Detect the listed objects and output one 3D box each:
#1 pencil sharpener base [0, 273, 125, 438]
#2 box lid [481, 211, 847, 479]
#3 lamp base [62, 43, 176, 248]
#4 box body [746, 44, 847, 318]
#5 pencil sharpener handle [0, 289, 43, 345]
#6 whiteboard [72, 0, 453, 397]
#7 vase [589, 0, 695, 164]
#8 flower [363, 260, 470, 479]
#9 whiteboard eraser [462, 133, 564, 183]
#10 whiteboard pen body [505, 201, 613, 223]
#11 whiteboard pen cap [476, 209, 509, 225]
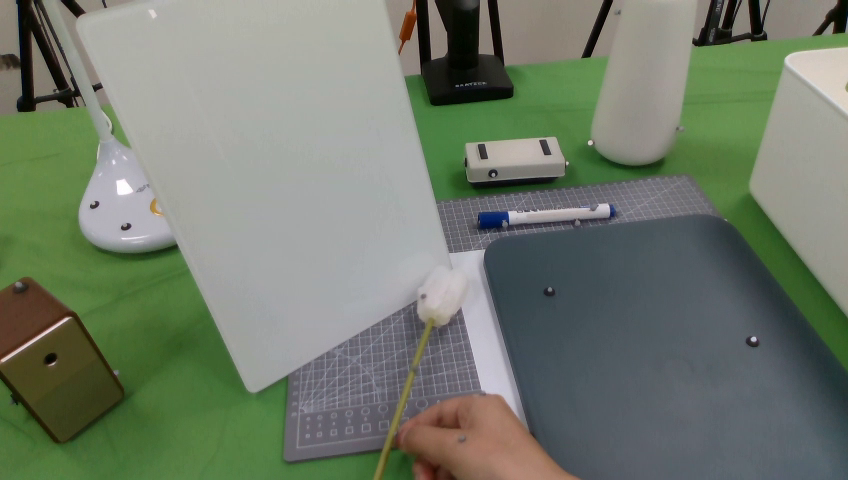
[{"bbox_3d":[-0.297,0.090,0.472,0.076,0.108,0.061,25,49,28],"label":"pencil sharpener base"},{"bbox_3d":[0.205,0.106,0.496,0.263,0.015,0.367,-7,42,-4],"label":"box lid"},{"bbox_3d":[-0.318,-0.108,0.639,0.178,0.182,0.160,22,47,28],"label":"lamp base"},{"bbox_3d":[0.481,-0.018,0.509,0.254,0.162,0.360,-6,42,-2],"label":"box body"},{"bbox_3d":[-0.337,0.060,0.489,0.030,0.068,0.036,25,58,29],"label":"pencil sharpener handle"},{"bbox_3d":[-0.127,-0.066,0.530,0.217,0.308,0.142,-28,28,-24],"label":"whiteboard"},{"bbox_3d":[0.248,-0.186,0.682,0.098,0.202,0.097,-1,42,1],"label":"vase"},{"bbox_3d":[-0.026,0.140,0.440,0.044,0.038,0.359,-26,26,37],"label":"flower"},{"bbox_3d":[0.102,-0.094,0.705,0.113,0.042,0.055,-5,40,-2],"label":"whiteboard eraser"},{"bbox_3d":[0.132,-0.029,0.646,0.141,0.017,0.017,-4,42,-1],"label":"whiteboard pen body"},{"bbox_3d":[0.073,-0.024,0.644,0.033,0.018,0.018,-2,42,-3],"label":"whiteboard pen cap"}]
